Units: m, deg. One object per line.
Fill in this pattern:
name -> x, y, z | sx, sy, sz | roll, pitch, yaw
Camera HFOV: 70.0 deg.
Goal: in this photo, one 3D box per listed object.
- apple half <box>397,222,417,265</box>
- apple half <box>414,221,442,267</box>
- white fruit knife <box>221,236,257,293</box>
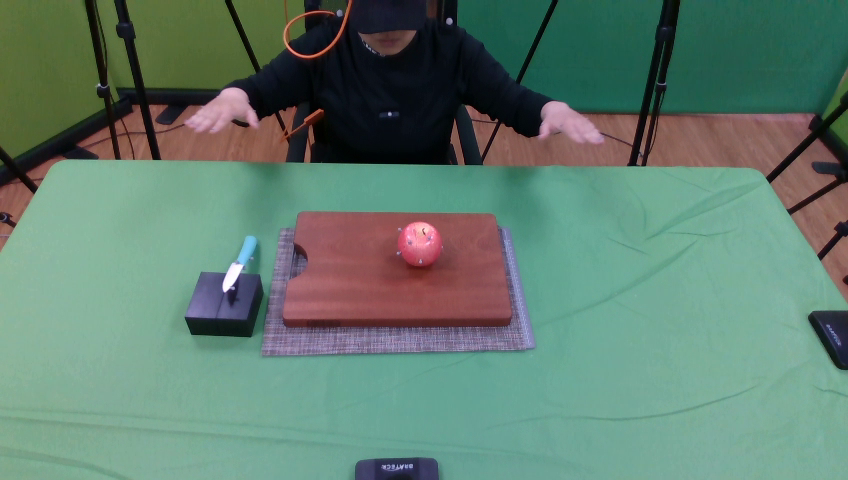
apple half -> -0.033, 0.010, 1.109 | 0.033, 0.081, 0.081 | 0, 46, -10
apple half -> 0.006, 0.009, 1.115 | 0.053, 0.075, 0.080 | 0, 42, -10
white fruit knife -> -0.333, 0.043, 1.094 | 0.027, 0.016, 0.206 | 2, 27, -3
